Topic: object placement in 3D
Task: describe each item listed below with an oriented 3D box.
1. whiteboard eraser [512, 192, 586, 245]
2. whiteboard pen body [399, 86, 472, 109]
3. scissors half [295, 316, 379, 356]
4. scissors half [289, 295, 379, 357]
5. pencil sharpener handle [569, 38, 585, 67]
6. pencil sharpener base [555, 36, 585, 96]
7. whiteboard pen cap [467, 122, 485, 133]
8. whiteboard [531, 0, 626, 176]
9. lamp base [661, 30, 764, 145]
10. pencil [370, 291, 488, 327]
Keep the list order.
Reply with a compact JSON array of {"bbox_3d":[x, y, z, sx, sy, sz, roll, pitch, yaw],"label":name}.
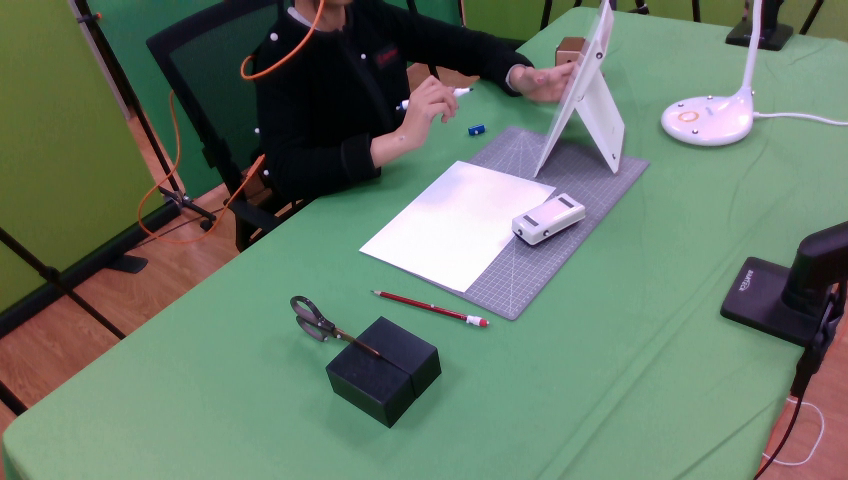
[{"bbox_3d":[0.199,-0.032,0.962,0.113,0.042,0.055,-27,42,-20],"label":"whiteboard eraser"},{"bbox_3d":[0.021,-0.265,1.118,0.140,0.017,0.017,-12,40,9],"label":"whiteboard pen body"},{"bbox_3d":[-0.119,0.132,0.813,0.174,0.040,0.013,9,34,45],"label":"scissors half"},{"bbox_3d":[-0.122,0.114,0.803,0.174,0.040,0.013,26,50,32],"label":"scissors half"},{"bbox_3d":[0.332,-0.413,1.317,0.036,0.068,0.030,19,46,13],"label":"pencil sharpener handle"},{"bbox_3d":[0.317,-0.371,1.290,0.061,0.107,0.076,10,44,22],"label":"pencil sharpener base"},{"bbox_3d":[0.106,-0.229,1.234,0.033,0.018,0.018,-17,41,-6],"label":"whiteboard pen cap"},{"bbox_3d":[0.320,-0.258,1.050,0.144,0.306,0.217,22,45,5],"label":"whiteboard"},{"bbox_3d":[0.535,-0.287,1.096,0.179,0.181,0.159,-10,40,-4],"label":"lamp base"},{"bbox_3d":[0.003,0.097,0.877,0.193,0.012,0.012,13,45,25],"label":"pencil"}]
